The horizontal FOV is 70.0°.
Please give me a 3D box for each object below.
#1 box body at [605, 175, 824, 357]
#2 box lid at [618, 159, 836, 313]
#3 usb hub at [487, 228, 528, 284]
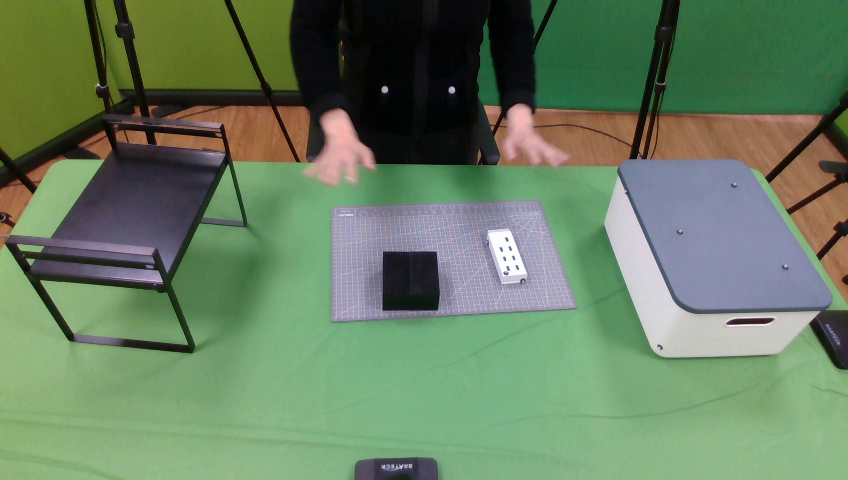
[{"bbox_3d":[0.505,0.028,1.108,0.254,0.161,0.361,-1,46,-4],"label":"box body"},{"bbox_3d":[0.508,-0.024,1.056,0.263,0.015,0.369,-1,46,-5],"label":"box lid"},{"bbox_3d":[0.159,0.029,1.173,0.049,0.025,0.124,-6,46,-9],"label":"usb hub"}]
